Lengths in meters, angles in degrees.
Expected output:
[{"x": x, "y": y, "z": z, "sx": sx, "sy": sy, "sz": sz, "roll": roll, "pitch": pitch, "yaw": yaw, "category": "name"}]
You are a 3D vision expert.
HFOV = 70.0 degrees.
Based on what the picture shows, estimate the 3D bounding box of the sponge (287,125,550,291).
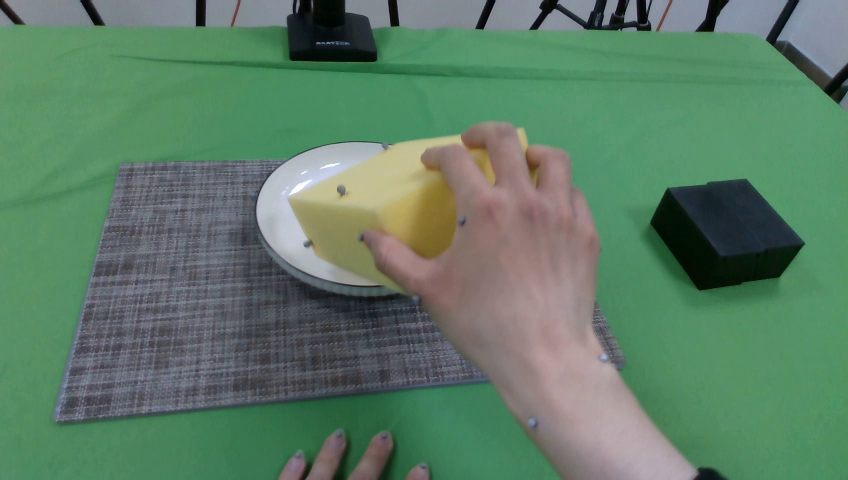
[{"x": -0.017, "y": -0.031, "z": 0.464, "sx": 0.118, "sy": 0.061, "sz": 0.205, "roll": -30, "pitch": 18, "yaw": -21, "category": "sponge"}]

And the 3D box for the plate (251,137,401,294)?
[{"x": -0.059, "y": -0.024, "z": 0.589, "sx": 0.208, "sy": 0.039, "sz": 0.205, "roll": 5, "pitch": 45, "yaw": -4, "category": "plate"}]
